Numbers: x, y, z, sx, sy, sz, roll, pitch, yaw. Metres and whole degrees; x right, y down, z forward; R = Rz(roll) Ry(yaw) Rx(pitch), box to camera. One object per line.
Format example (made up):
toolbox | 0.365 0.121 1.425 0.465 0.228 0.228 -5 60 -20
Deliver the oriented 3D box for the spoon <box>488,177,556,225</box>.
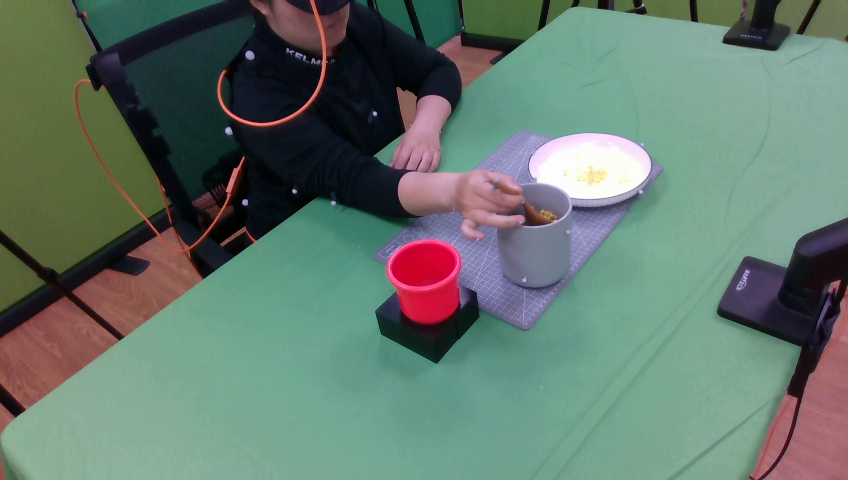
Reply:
spoon | 0.132 -0.051 0.818 0.041 0.195 0.021 19 83 37

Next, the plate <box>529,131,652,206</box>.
plate | 0.287 -0.121 1.056 0.207 0.039 0.206 -5 40 5

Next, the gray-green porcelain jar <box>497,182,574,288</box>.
gray-green porcelain jar | 0.160 -0.003 0.870 0.106 0.127 0.105 -5 40 5
